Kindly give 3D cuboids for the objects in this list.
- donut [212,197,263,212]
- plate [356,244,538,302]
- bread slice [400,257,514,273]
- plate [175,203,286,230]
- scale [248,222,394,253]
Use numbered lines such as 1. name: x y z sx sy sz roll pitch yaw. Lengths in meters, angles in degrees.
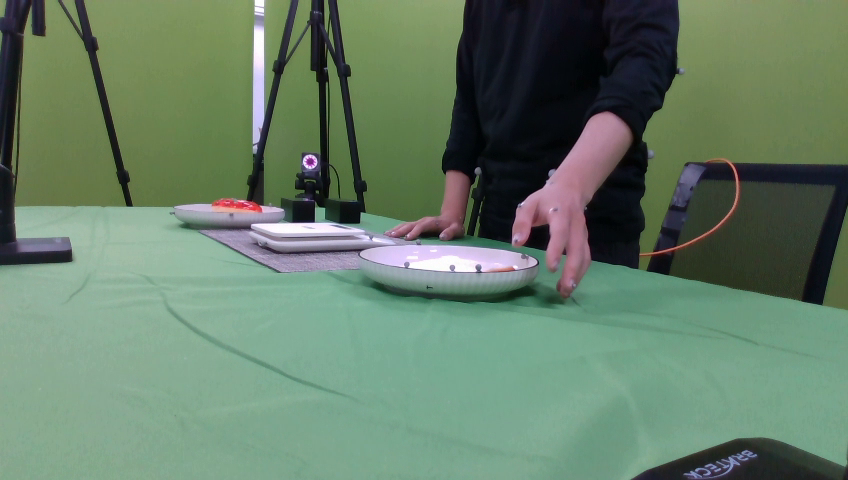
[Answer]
1. donut: -0.376 -0.061 1.220 0.099 0.048 0.099 5 4 0
2. plate: 0.025 0.036 0.693 0.209 0.038 0.209 3 7 0
3. bread slice: 0.029 0.038 0.689 0.104 0.019 0.132 8 10 37
4. plate: -0.381 -0.047 1.199 0.208 0.039 0.207 3 7 0
5. scale: -0.162 -0.006 0.954 0.202 0.031 0.148 -1 9 -32
